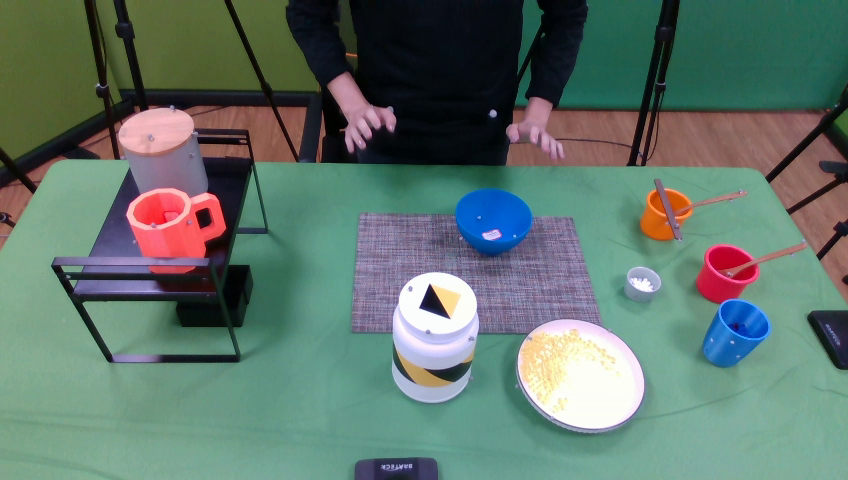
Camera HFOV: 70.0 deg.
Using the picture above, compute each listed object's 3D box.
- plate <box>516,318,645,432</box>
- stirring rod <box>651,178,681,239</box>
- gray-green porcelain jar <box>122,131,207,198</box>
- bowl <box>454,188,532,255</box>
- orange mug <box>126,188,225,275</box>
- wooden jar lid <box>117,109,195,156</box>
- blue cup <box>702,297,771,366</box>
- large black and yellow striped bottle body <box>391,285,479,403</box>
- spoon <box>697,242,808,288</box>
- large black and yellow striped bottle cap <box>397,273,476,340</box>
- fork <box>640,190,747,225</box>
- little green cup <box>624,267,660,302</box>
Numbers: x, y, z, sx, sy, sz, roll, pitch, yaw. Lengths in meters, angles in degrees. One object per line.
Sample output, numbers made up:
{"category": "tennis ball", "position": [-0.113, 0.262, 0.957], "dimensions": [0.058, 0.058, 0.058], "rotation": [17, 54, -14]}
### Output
{"category": "plate", "position": [0.253, 0.221, 0.992], "dimensions": [0.209, 0.038, 0.208], "rotation": [2, 46, -2]}
{"category": "stirring rod", "position": [0.479, -0.065, 1.204], "dimensions": [0.014, 0.006, 0.175], "rotation": [3, 46, -4]}
{"category": "gray-green porcelain jar", "position": [-0.404, -0.115, 0.955], "dimensions": [0.106, 0.127, 0.105], "rotation": [3, 46, -3]}
{"category": "bowl", "position": [0.131, -0.025, 1.187], "dimensions": [0.151, 0.077, 0.150], "rotation": [2, 46, -2]}
{"category": "orange mug", "position": [-0.357, -0.020, 0.885], "dimensions": [0.126, 0.101, 0.083], "rotation": [-29, 54, -23]}
{"category": "wooden jar lid", "position": [-0.400, -0.159, 0.910], "dimensions": [0.108, 0.021, 0.107], "rotation": [2, 47, -2]}
{"category": "blue cup", "position": [0.519, 0.162, 1.025], "dimensions": [0.093, 0.101, 0.092], "rotation": [3, 45, -3]}
{"category": "large black and yellow striped bottle body", "position": [0.015, 0.153, 0.938], "dimensions": [0.131, 0.185, 0.130], "rotation": [2, 46, -2]}
{"category": "spoon", "position": [0.601, 0.045, 1.116], "dimensions": [0.194, 0.022, 0.041], "rotation": [-29, 34, 30]}
{"category": "large black and yellow striped bottle cap", "position": [0.018, 0.094, 0.878], "dimensions": [0.115, 0.019, 0.114], "rotation": [3, 46, -3]}
{"category": "fork", "position": [0.533, -0.064, 1.211], "dimensions": [0.207, 0.019, 0.028], "rotation": [-22, 27, 38]}
{"category": "little green cup", "position": [0.406, 0.084, 1.135], "dimensions": [0.061, 0.039, 0.061], "rotation": [3, 46, -3]}
